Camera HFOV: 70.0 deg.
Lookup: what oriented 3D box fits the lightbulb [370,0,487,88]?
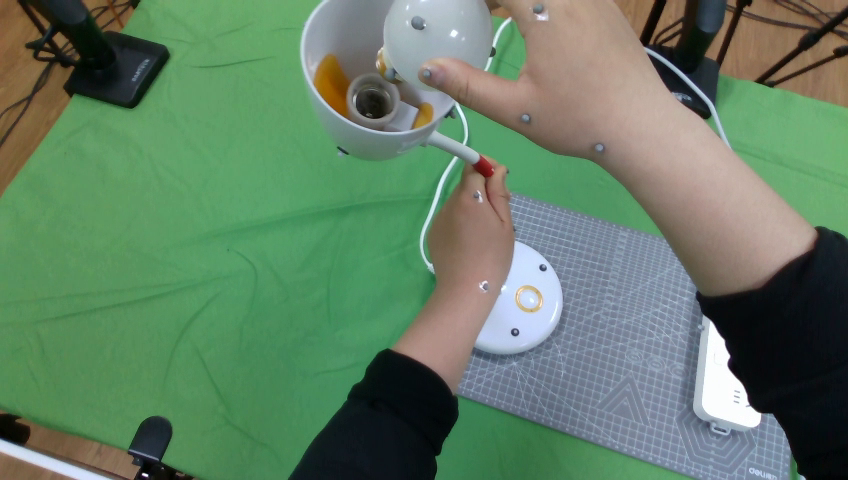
[{"bbox_3d":[-0.005,-0.117,0.359,0.060,0.107,0.059,-2,94,-25],"label":"lightbulb"}]

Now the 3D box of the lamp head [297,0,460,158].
[{"bbox_3d":[-0.035,-0.110,0.458,0.112,0.123,0.112,2,75,-6],"label":"lamp head"}]

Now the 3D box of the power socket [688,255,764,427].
[{"bbox_3d":[0.381,0.120,0.762,0.072,0.033,0.225,16,65,5],"label":"power socket"}]

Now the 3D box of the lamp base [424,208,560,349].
[{"bbox_3d":[0.084,0.027,0.714,0.179,0.181,0.159,11,64,7],"label":"lamp base"}]
